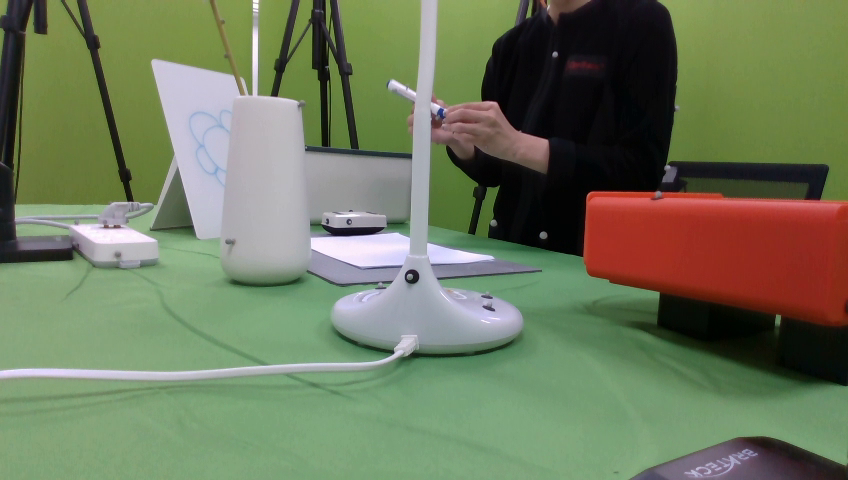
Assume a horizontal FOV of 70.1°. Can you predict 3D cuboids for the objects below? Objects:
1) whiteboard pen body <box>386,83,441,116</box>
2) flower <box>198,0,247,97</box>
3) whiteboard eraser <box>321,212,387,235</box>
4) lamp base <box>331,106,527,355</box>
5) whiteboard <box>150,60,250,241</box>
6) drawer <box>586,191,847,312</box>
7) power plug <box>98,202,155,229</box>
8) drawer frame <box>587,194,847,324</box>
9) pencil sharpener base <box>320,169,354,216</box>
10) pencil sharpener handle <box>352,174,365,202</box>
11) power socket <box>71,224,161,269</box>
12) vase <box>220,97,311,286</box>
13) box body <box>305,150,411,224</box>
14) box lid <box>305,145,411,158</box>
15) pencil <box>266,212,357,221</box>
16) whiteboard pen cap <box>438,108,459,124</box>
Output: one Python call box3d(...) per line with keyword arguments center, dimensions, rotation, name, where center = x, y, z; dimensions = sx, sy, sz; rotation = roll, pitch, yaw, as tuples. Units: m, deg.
box3d(center=(-0.008, -0.228, 0.993), dimensions=(0.140, 0.017, 0.017), rotation=(33, 22, 27), name="whiteboard pen body")
box3d(center=(-0.187, -0.133, 0.648), dimensions=(0.038, 0.362, 0.044), rotation=(-1, 22, 43), name="flower")
box3d(center=(-0.128, -0.031, 1.108), dimensions=(0.113, 0.042, 0.055), rotation=(-3, 8, -38), name="whiteboard eraser")
box3d(center=(0.006, -0.012, 0.478), dimensions=(0.161, 0.180, 0.179), rotation=(2, 10, 2), name="lamp base")
box3d(center=(-0.408, -0.139, 1.093), dimensions=(0.143, 0.305, 0.218), rotation=(-15, -1, 26), name="whiteboard")
box3d(center=(0.281, 0.001, 0.512), dimensions=(0.195, 0.073, 0.210), rotation=(-1, 8, -29), name="drawer")
box3d(center=(-0.416, -0.027, 0.848), dimensions=(0.073, 0.052, 0.035), rotation=(0, 8, -28), name="power plug")
box3d(center=(0.285, 0.004, 0.508), dimensions=(0.203, 0.082, 0.212), rotation=(-1, 6, -30), name="drawer frame")
box3d(center=(-0.207, -0.113, 1.439), dimensions=(0.077, 0.107, 0.061), rotation=(1, 6, -11), name="pencil sharpener base")
box3d(center=(-0.156, -0.125, 1.450), dimensions=(0.031, 0.068, 0.036), rotation=(1, 20, -11), name="pencil sharpener handle")
box3d(center=(-0.408, 0.004, 0.793), dimensions=(0.072, 0.032, 0.225), rotation=(-2, 8, -38), name="power socket")
box3d(center=(-0.172, -0.052, 0.662), dimensions=(0.098, 0.200, 0.098), rotation=(3, 8, 0), name="vase")
box3d(center=(-0.230, -0.126, 1.372), dimensions=(0.366, 0.160, 0.253), rotation=(-2, 8, -33), name="box body")
box3d(center=(-0.228, -0.200, 1.362), dimensions=(0.373, 0.015, 0.262), rotation=(-1, 8, -33), name="box lid")
box3d(center=(-0.244, -0.049, 1.319), dimensions=(0.195, 0.012, 0.012), rotation=(3, 7, -12), name="pencil")
box3d(center=(0.037, -0.199, 0.966), dimensions=(0.033, 0.018, 0.018), rotation=(32, 22, 29), name="whiteboard pen cap")
